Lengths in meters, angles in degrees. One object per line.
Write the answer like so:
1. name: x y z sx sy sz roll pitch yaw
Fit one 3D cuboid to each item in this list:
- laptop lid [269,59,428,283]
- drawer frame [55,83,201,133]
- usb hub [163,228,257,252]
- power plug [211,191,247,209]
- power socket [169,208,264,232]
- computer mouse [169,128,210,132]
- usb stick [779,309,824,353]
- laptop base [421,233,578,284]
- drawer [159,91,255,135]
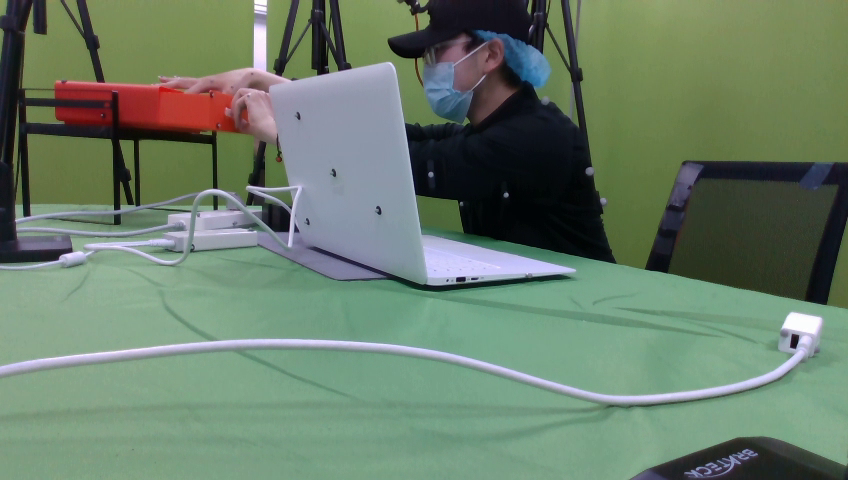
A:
1. laptop lid: -0.110 -0.087 0.752 0.013 0.241 0.355 -18 19 -30
2. drawer frame: -0.574 -0.263 1.218 0.213 0.082 0.202 3 8 6
3. usb hub: -0.314 -0.001 0.894 0.049 0.025 0.126 9 10 41
4. power plug: -0.386 -0.071 1.205 0.072 0.052 0.035 8 10 27
5. power socket: -0.380 -0.038 1.127 0.072 0.032 0.227 4 8 17
6. computer mouse: -0.459 -0.237 1.212 0.118 0.041 0.062 -2 5 -29
7. usb stick: 0.311 0.072 0.496 0.027 0.021 0.059 8 15 34
8. laptop base: 0.007 0.021 0.850 0.237 0.023 0.352 1 7 -34
9. drawer: -0.473 -0.254 1.207 0.211 0.073 0.194 4 8 8
